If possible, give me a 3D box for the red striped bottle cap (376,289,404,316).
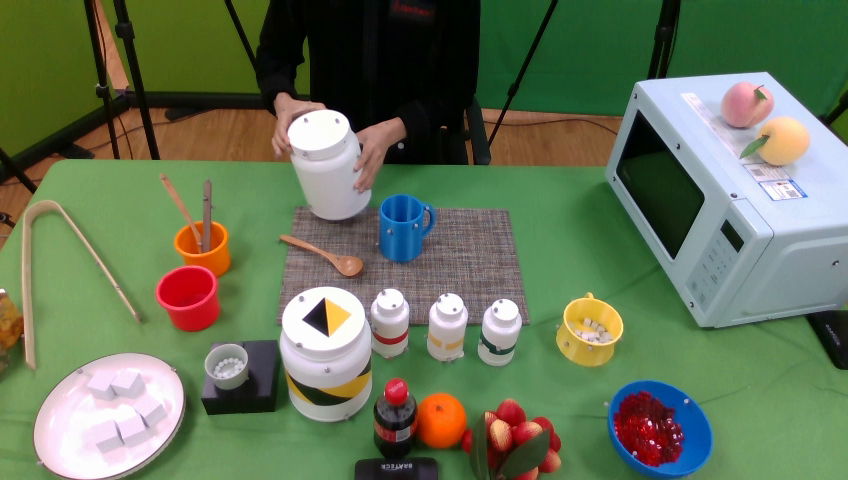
[{"bbox_3d":[-0.054,0.098,0.958,0.044,0.018,0.044,0,48,1],"label":"red striped bottle cap"}]

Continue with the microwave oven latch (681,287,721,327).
[{"bbox_3d":[0.494,0.119,1.087,0.030,0.029,0.078,-6,46,-9],"label":"microwave oven latch"}]

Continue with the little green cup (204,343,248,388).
[{"bbox_3d":[-0.294,0.190,0.909,0.061,0.039,0.061,1,48,-1],"label":"little green cup"}]

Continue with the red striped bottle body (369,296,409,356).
[{"bbox_3d":[-0.058,0.134,0.997,0.063,0.120,0.062,4,47,-4],"label":"red striped bottle body"}]

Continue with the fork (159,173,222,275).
[{"bbox_3d":[-0.427,-0.029,1.103,0.028,0.018,0.207,-31,99,-30],"label":"fork"}]

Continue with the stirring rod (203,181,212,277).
[{"bbox_3d":[-0.396,-0.021,1.107,0.014,0.006,0.176,-1,89,-1],"label":"stirring rod"}]

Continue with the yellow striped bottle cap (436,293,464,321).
[{"bbox_3d":[0.041,0.106,0.959,0.044,0.019,0.044,-1,50,1],"label":"yellow striped bottle cap"}]

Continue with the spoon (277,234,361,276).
[{"bbox_3d":[-0.202,0.023,1.155,0.193,0.022,0.041,23,70,17],"label":"spoon"}]

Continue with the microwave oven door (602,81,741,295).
[{"bbox_3d":[0.456,-0.107,1.162,0.039,0.245,0.353,-6,47,-11],"label":"microwave oven door"}]

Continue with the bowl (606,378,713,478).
[{"bbox_3d":[0.340,0.292,0.906,0.151,0.077,0.150,2,46,-2],"label":"bowl"}]

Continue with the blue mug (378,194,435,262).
[{"bbox_3d":[-0.032,-0.027,1.160,0.116,0.106,0.082,-19,51,-21],"label":"blue mug"}]

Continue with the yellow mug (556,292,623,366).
[{"bbox_3d":[0.285,0.145,1.051,0.100,0.064,0.130,7,45,3],"label":"yellow mug"}]

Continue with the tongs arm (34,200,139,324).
[{"bbox_3d":[-0.622,0.034,1.105,0.051,0.026,0.382,-32,56,-25],"label":"tongs arm"}]

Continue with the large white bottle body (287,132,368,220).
[{"bbox_3d":[-0.186,-0.142,1.169,0.130,0.185,0.130,-4,50,5],"label":"large white bottle body"}]

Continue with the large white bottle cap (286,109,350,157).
[{"bbox_3d":[-0.193,-0.197,1.105,0.115,0.018,0.114,-4,50,5],"label":"large white bottle cap"}]

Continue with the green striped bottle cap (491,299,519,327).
[{"bbox_3d":[0.128,0.115,0.958,0.044,0.020,0.044,1,46,-1],"label":"green striped bottle cap"}]

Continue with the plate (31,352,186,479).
[{"bbox_3d":[-0.459,0.262,0.898,0.209,0.038,0.208,2,46,-2],"label":"plate"}]

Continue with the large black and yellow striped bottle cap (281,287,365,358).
[{"bbox_3d":[-0.141,0.112,0.847,0.115,0.019,0.114,5,45,-4],"label":"large black and yellow striped bottle cap"}]

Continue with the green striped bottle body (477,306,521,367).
[{"bbox_3d":[0.124,0.151,0.995,0.063,0.120,0.063,2,46,-2],"label":"green striped bottle body"}]

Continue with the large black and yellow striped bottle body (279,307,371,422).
[{"bbox_3d":[-0.145,0.173,0.907,0.131,0.185,0.130,2,46,-2],"label":"large black and yellow striped bottle body"}]

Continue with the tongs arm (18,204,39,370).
[{"bbox_3d":[-0.698,0.069,1.069,0.028,0.028,0.385,-20,50,-13],"label":"tongs arm"}]

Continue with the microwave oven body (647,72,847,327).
[{"bbox_3d":[0.607,-0.089,1.164,0.326,0.261,0.438,-7,46,-10],"label":"microwave oven body"}]

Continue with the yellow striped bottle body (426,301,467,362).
[{"bbox_3d":[0.037,0.143,0.996,0.063,0.121,0.062,2,46,-2],"label":"yellow striped bottle body"}]
